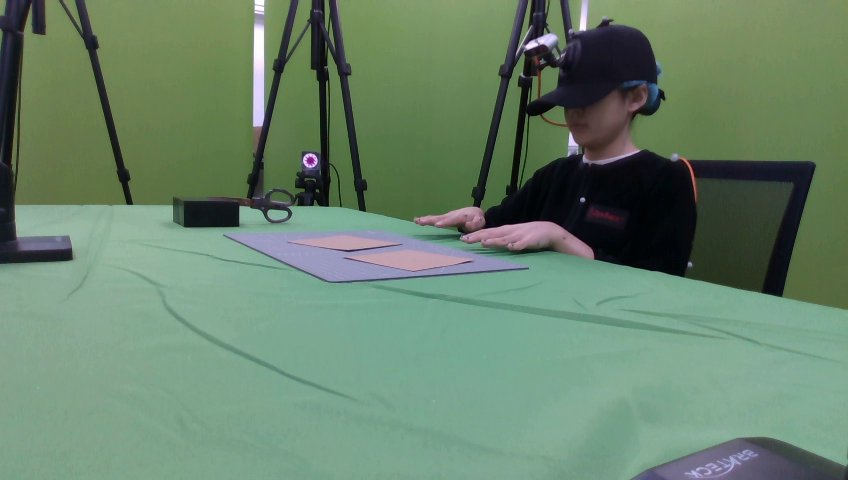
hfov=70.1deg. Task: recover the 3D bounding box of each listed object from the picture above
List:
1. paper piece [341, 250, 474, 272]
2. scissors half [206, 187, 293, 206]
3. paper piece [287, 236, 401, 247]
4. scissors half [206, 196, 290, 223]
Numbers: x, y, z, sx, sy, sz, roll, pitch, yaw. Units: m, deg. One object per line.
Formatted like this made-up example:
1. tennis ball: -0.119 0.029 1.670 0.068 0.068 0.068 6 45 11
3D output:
1. paper piece: -0.023 0.027 0.848 0.135 0.004 0.136 8 9 39
2. scissors half: -0.352 -0.086 1.228 0.176 0.040 0.012 -6 24 -31
3. paper piece: -0.130 0.004 0.986 0.137 0.008 0.137 7 4 35
4. scissors half: -0.356 -0.066 1.233 0.176 0.040 0.013 14 8 -35
